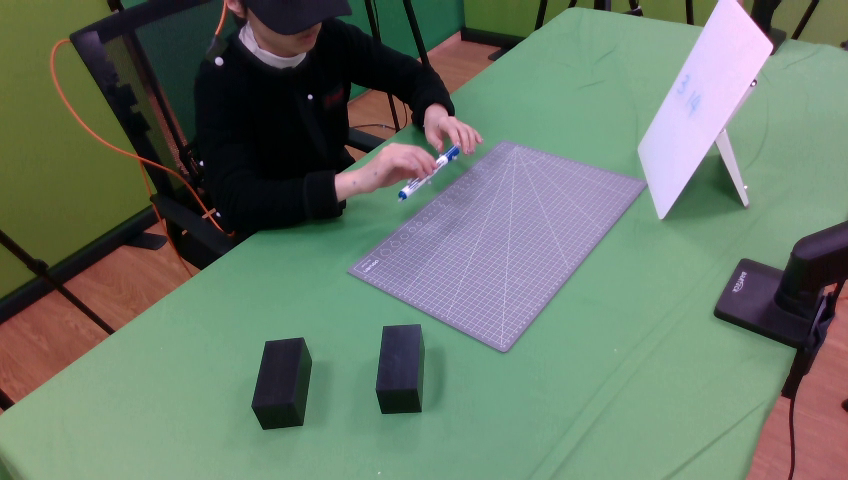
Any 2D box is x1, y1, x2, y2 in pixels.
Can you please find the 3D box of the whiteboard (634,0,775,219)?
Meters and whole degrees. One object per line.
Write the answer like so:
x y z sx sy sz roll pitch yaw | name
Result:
0.485 -0.193 0.957 0.144 0.305 0.216 14 41 -4 | whiteboard

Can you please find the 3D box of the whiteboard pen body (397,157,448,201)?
0.005 -0.105 0.970 0.017 0.017 0.141 25 51 32 | whiteboard pen body

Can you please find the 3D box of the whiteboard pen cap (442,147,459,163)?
0.042 -0.139 1.002 0.018 0.018 0.033 25 55 32 | whiteboard pen cap
